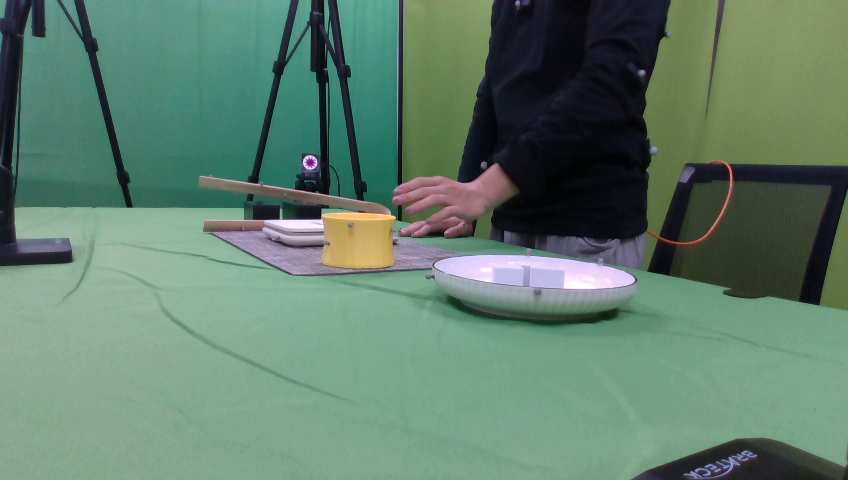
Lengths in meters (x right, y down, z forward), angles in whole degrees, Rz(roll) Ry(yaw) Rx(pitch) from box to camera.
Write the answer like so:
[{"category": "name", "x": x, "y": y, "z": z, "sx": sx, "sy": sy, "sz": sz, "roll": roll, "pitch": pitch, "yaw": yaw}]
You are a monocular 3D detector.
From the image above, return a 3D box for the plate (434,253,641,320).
[{"category": "plate", "x": 0.114, "y": 0.047, "z": 0.625, "sx": 0.208, "sy": 0.039, "sz": 0.207, "roll": 2, "pitch": 7, "yaw": 0}]

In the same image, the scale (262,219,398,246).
[{"category": "scale", "x": -0.160, "y": -0.015, "z": 1.028, "sx": 0.202, "sy": 0.031, "sz": 0.148, "roll": -1, "pitch": 9, "yaw": -32}]

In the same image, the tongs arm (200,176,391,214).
[{"category": "tongs arm", "x": -0.258, "y": -0.084, "z": 1.245, "sx": 0.387, "sy": 0.026, "sz": 0.050, "roll": 6, "pitch": 32, "yaw": -22}]

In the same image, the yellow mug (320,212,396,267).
[{"category": "yellow mug", "x": -0.089, "y": -0.004, "z": 0.825, "sx": 0.100, "sy": 0.064, "sz": 0.131, "roll": 2, "pitch": 6, "yaw": -2}]

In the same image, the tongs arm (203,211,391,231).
[{"category": "tongs arm", "x": -0.231, "y": -0.035, "z": 1.185, "sx": 0.390, "sy": 0.028, "sz": 0.028, "roll": -3, "pitch": 33, "yaw": -33}]
